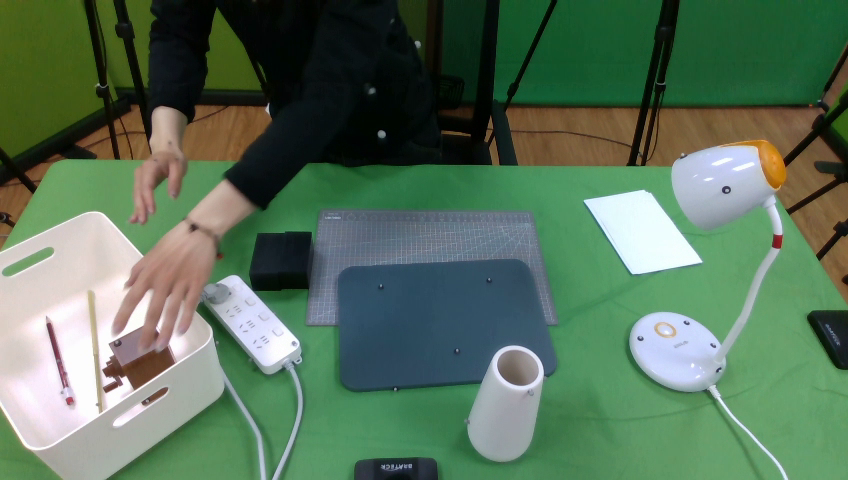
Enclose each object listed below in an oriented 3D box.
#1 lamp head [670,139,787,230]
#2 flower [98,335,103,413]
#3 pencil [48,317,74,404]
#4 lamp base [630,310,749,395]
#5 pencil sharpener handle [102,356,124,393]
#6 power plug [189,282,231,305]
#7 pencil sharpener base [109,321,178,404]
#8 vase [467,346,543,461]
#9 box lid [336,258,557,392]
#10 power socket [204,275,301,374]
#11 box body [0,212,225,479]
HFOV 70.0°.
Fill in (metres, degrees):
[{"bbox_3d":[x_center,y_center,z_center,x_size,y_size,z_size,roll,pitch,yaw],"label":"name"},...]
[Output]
[{"bbox_3d":[0.415,-0.078,0.812,0.113,0.123,0.112,12,70,-37],"label":"lamp head"},{"bbox_3d":[-0.513,0.210,0.960,0.044,0.038,0.359,6,34,-32],"label":"flower"},{"bbox_3d":[-0.587,0.188,0.975,0.012,0.012,0.193,-23,51,-24],"label":"pencil"},{"bbox_3d":[0.447,0.142,0.984,0.161,0.181,0.178,-24,55,-24],"label":"lamp base"},{"bbox_3d":[-0.460,0.200,0.886,0.030,0.068,0.036,-29,59,-29],"label":"pencil sharpener handle"},{"bbox_3d":[-0.369,0.097,1.039,0.072,0.053,0.035,-25,56,-20],"label":"power plug"},{"bbox_3d":[-0.421,0.188,0.919,0.077,0.107,0.061,-29,54,-29],"label":"pencil sharpener base"},{"bbox_3d":[0.115,0.235,0.861,0.098,0.201,0.097,1,47,-1],"label":"vase"},{"bbox_3d":[0.030,0.140,1.073,0.372,0.015,0.261,-3,47,-7],"label":"box lid"},{"bbox_3d":[-0.296,0.140,1.035,0.072,0.033,0.225,-32,57,-29],"label":"power socket"},{"bbox_3d":[-0.504,0.154,0.916,0.362,0.161,0.254,36,54,27],"label":"box body"}]
